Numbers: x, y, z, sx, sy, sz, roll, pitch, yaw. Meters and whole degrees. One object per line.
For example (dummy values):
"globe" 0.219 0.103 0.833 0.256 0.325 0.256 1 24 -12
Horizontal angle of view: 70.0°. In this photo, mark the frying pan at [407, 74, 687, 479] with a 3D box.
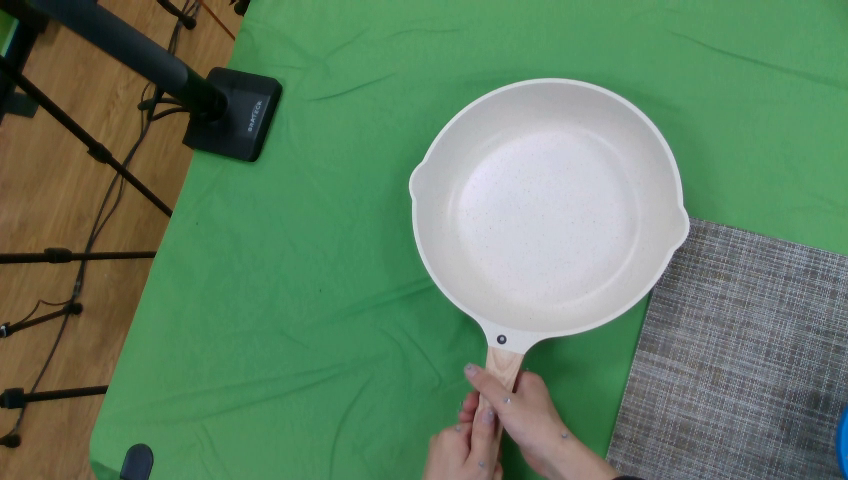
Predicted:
"frying pan" 0.102 0.056 0.664 0.305 0.103 0.485 13 74 17

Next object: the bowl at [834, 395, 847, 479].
"bowl" 0.455 0.191 0.563 0.151 0.077 0.150 -3 78 13
